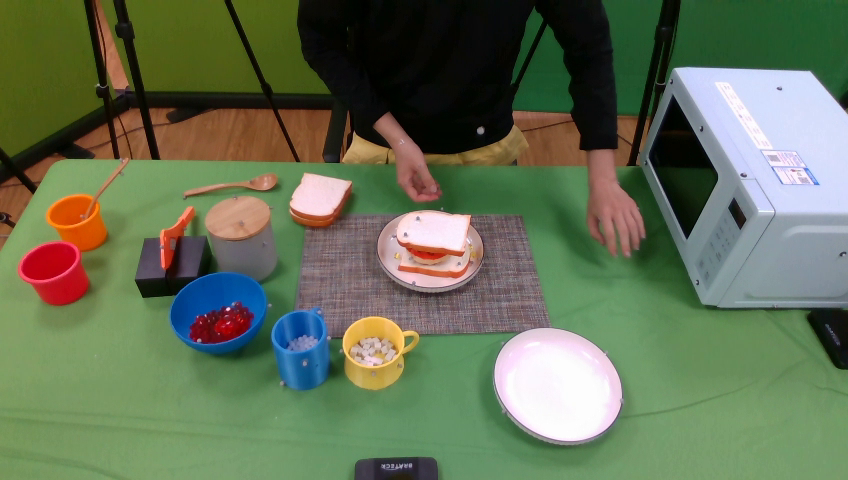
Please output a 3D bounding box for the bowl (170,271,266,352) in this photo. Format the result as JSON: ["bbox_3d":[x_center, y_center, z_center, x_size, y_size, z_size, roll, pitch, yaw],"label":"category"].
[{"bbox_3d":[-0.333,0.132,1.006,0.151,0.077,0.150,2,46,-2],"label":"bowl"}]

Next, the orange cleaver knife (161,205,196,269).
[{"bbox_3d":[-0.454,-0.010,1.129,0.012,0.077,0.210,-1,20,-5],"label":"orange cleaver knife"}]

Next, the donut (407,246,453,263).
[{"bbox_3d":[0.013,0.001,1.139,0.099,0.048,0.098,2,48,-2],"label":"donut"}]

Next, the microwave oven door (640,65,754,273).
[{"bbox_3d":[0.523,-0.147,1.193,0.039,0.245,0.353,0,47,-3],"label":"microwave oven door"}]

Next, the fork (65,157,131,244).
[{"bbox_3d":[-0.609,-0.074,1.132,0.207,0.019,0.028,-51,50,10],"label":"fork"}]

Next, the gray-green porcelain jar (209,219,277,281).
[{"bbox_3d":[-0.323,0.007,1.092,0.106,0.127,0.105,2,46,-2],"label":"gray-green porcelain jar"}]

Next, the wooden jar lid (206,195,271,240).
[{"bbox_3d":[-0.319,-0.036,1.046,0.108,0.021,0.107,1,44,0],"label":"wooden jar lid"}]

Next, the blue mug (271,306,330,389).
[{"bbox_3d":[-0.188,0.163,0.969,0.082,0.106,0.116,15,47,10],"label":"blue mug"}]

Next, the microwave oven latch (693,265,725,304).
[{"bbox_3d":[0.522,0.081,1.115,0.030,0.029,0.078,2,46,-1],"label":"microwave oven latch"}]

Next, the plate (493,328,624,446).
[{"bbox_3d":[0.213,0.236,0.974,0.208,0.039,0.206,2,46,-2],"label":"plate"}]

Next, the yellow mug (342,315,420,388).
[{"bbox_3d":[-0.068,0.177,0.990,0.131,0.064,0.099,-16,50,-19],"label":"yellow mug"}]

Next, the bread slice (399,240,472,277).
[{"bbox_3d":[0.026,0.024,1.158,0.131,0.019,0.104,8,46,4],"label":"bread slice"}]

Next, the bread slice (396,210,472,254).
[{"bbox_3d":[0.017,-0.016,1.113,0.134,0.018,0.106,3,40,6],"label":"bread slice"}]

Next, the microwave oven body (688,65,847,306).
[{"bbox_3d":[0.669,-0.111,1.176,0.326,0.261,0.439,0,46,-3],"label":"microwave oven body"}]

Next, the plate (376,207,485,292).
[{"bbox_3d":[0.012,0.021,1.158,0.209,0.038,0.208,2,47,-2],"label":"plate"}]

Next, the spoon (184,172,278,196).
[{"bbox_3d":[-0.405,-0.116,1.275,0.194,0.022,0.041,-8,65,-12],"label":"spoon"}]
